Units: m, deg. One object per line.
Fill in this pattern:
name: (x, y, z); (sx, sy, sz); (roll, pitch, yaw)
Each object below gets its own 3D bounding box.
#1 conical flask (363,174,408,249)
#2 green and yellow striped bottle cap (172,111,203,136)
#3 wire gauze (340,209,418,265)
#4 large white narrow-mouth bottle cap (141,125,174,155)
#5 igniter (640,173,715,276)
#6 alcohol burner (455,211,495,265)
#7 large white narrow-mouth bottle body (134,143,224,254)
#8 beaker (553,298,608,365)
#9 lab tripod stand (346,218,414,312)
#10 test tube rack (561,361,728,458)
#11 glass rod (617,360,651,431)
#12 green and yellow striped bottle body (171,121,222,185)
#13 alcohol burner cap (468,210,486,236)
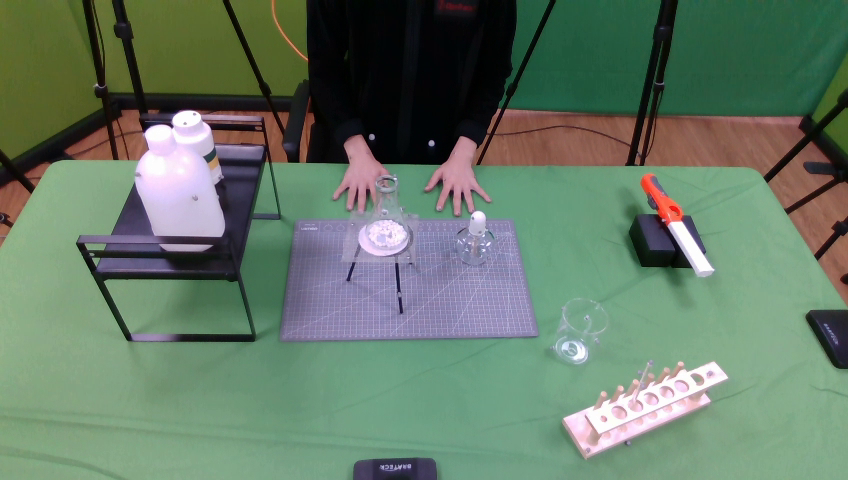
conical flask: (-0.063, -0.049, 0.985); (0.075, 0.122, 0.075); (2, 46, -1)
green and yellow striped bottle cap: (-0.374, -0.185, 0.958); (0.045, 0.020, 0.045); (4, 46, -4)
wire gauze: (-0.074, -0.006, 1.024); (0.121, 0.011, 0.124); (2, 48, 1)
large white narrow-mouth bottle cap: (-0.356, -0.134, 0.810); (0.038, 0.024, 0.037); (2, 48, -2)
igniter: (0.495, -0.039, 1.204); (0.057, 0.025, 0.274); (-2, 47, -12)
alcohol burner: (0.097, -0.010, 1.147); (0.078, 0.120, 0.077); (1, 47, 0)
large white narrow-mouth bottle body: (-0.358, -0.075, 0.875); (0.102, 0.195, 0.101); (1, 48, -1)
beaker: (0.260, 0.154, 1.015); (0.073, 0.101, 0.084); (37, 54, 27)
lab tripod stand: (-0.070, 0.037, 1.075); (0.148, 0.132, 0.147); (1, 47, -1)
test tube rack: (0.341, 0.248, 0.940); (0.243, 0.085, 0.066); (-15, 49, -18)
glass rod: (0.297, 0.227, 0.865); (0.008, 0.201, 0.008); (-1, 47, 2)
green and yellow striped bottle body: (-0.375, -0.149, 0.995); (0.063, 0.120, 0.063); (2, 46, -2)
alcohol burner cap: (0.100, -0.034, 1.119); (0.034, 0.048, 0.033); (0, 52, 0)
